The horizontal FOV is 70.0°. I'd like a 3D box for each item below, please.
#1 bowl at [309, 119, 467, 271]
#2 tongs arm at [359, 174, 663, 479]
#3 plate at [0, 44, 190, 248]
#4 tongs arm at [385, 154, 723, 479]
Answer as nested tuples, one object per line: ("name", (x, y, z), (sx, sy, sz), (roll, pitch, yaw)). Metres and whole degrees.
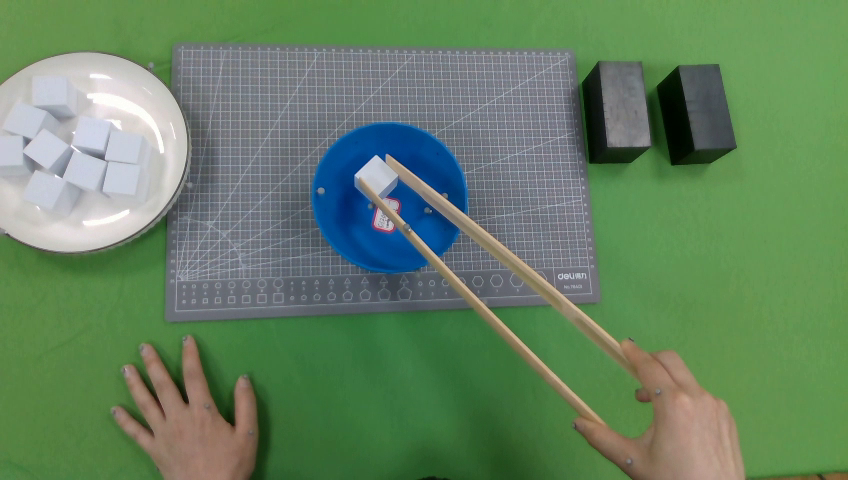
("bowl", (-0.037, -0.037, 0.609), (0.152, 0.077, 0.150), (2, 78, -8))
("tongs arm", (0.078, 0.064, 0.513), (0.051, 0.027, 0.382), (-35, 69, -17))
("plate", (-0.337, -0.092, 0.603), (0.208, 0.039, 0.206), (1, 79, -6))
("tongs arm", (0.094, 0.050, 0.520), (0.028, 0.028, 0.385), (-38, 69, -22))
